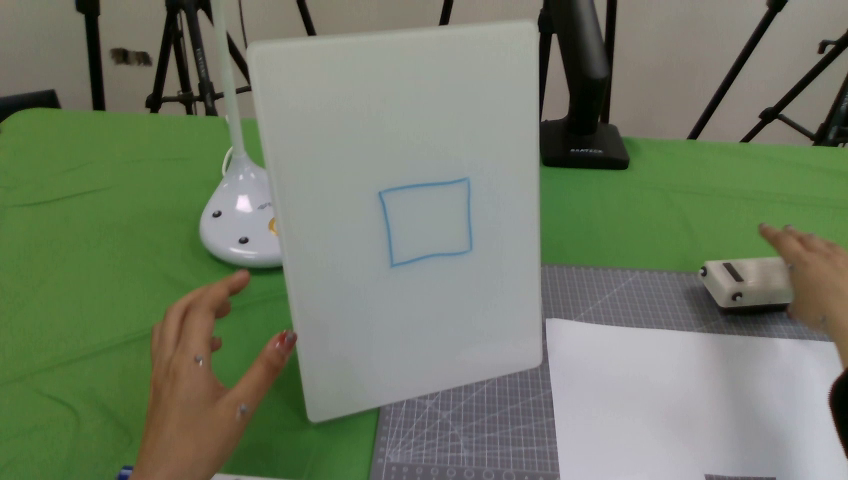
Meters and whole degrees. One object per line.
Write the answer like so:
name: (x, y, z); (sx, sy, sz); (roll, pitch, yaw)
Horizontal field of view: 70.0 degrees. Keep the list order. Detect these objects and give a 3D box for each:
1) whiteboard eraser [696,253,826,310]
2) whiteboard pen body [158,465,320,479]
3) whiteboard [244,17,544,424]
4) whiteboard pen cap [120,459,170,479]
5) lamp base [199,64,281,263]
whiteboard eraser: (0.349, 0.044, 0.632); (0.113, 0.042, 0.055); (-2, 40, -6)
whiteboard pen body: (-0.149, 0.179, 0.452); (0.141, 0.017, 0.017); (4, 38, 0)
whiteboard: (-0.023, -0.028, 0.544); (0.218, 0.307, 0.142); (-10, 20, -14)
whiteboard pen cap: (-0.207, 0.173, 0.453); (0.033, 0.018, 0.018); (4, 38, -1)
lamp base: (-0.187, -0.092, 0.673); (0.161, 0.182, 0.177); (-30, 46, -35)
